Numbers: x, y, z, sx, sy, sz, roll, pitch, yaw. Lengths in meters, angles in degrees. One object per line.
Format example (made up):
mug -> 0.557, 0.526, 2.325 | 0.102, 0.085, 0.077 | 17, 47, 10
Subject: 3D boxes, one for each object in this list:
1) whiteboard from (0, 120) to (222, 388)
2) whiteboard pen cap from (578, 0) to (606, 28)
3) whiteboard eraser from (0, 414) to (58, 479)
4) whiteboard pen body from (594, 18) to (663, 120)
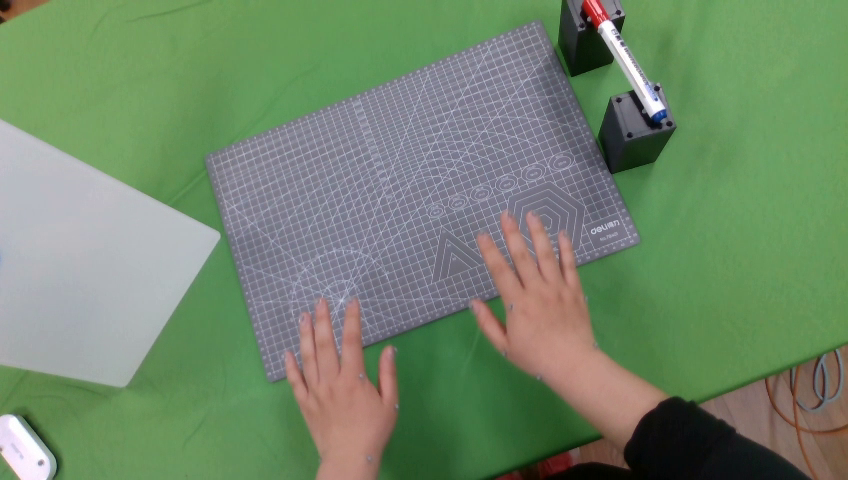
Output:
whiteboard -> -0.417, 0.005, 0.643 | 0.142, 0.308, 0.217 | 27, 84, 33
whiteboard pen cap -> 0.171, -0.232, 0.613 | 0.017, 0.017, 0.032 | -26, 77, 3
whiteboard eraser -> -0.477, 0.248, 0.716 | 0.101, 0.019, 0.041 | 41, 86, 13
whiteboard pen body -> 0.196, -0.180, 0.600 | 0.017, 0.017, 0.140 | -26, 77, 3
